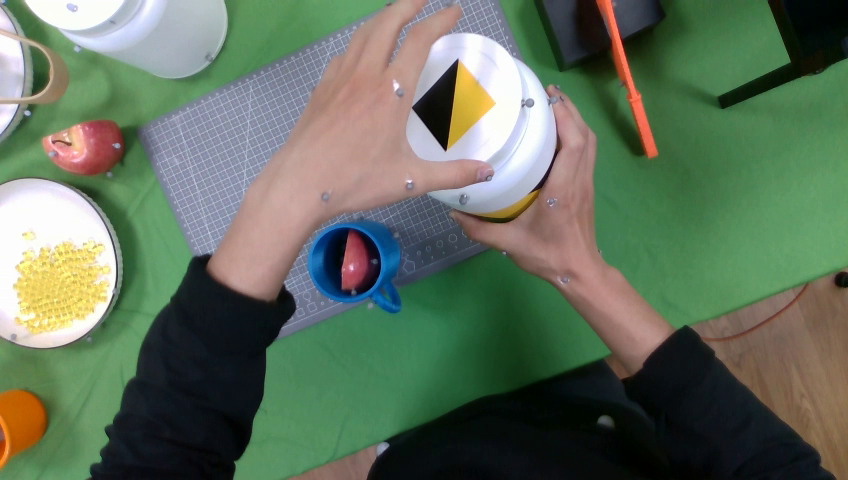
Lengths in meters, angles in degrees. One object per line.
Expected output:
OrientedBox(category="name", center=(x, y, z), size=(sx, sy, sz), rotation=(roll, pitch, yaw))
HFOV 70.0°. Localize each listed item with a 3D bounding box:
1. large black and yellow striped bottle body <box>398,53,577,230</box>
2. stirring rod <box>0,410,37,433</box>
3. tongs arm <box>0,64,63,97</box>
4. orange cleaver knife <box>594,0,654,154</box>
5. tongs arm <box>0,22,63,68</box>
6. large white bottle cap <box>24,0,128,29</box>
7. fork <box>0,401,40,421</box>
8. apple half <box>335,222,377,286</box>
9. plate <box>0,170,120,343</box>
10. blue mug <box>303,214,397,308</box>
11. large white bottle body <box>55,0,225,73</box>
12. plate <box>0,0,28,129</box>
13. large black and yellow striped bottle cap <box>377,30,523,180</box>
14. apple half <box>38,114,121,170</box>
OrientedBox(category="large black and yellow striped bottle body", center=(0.053, -0.087, 0.535), size=(0.130, 0.185, 0.130), rotation=(-5, 78, 25))
OrientedBox(category="stirring rod", center=(-0.556, 0.241, 0.710), size=(0.177, 0.006, 0.014), rotation=(-17, 82, -34))
OrientedBox(category="tongs arm", center=(-0.602, -0.188, 0.696), size=(0.384, 0.026, 0.051), rotation=(6, 92, 6))
OrientedBox(category="orange cleaver knife", center=(0.204, -0.190, 0.637), size=(0.012, 0.076, 0.213), rotation=(-21, 119, 15))
OrientedBox(category="tongs arm", center=(-0.587, -0.270, 0.690), size=(0.387, 0.028, 0.028), rotation=(20, 90, 5))
OrientedBox(category="large white bottle cap", center=(-0.312, -0.249, 0.539), size=(0.115, 0.018, 0.115), rotation=(0, 95, 6))
OrientedBox(category="fork", center=(-0.572, 0.226, 0.708), size=(0.208, 0.018, 0.028), rotation=(-9, 94, -38))
OrientedBox(category="apple half", center=(-0.067, 0.016, 0.660), size=(0.032, 0.081, 0.081), rotation=(11, 96, 12))
OrientedBox(category="plate", center=(-0.465, 0.019, 0.736), size=(0.209, 0.038, 0.209), rotation=(0, 96, 5))
OrientedBox(category="blue mug", center=(-0.068, 0.026, 0.667), size=(0.082, 0.106, 0.116), rotation=(-38, 91, 7))
OrientedBox(category="large white bottle body", center=(-0.303, -0.255, 0.623), size=(0.130, 0.184, 0.130), rotation=(0, 94, 6))
OrientedBox(category="plate", center=(-0.567, -0.213, 0.723), size=(0.207, 0.039, 0.208), rotation=(0, 96, 5))
OrientedBox(category="large black and yellow striped bottle cap", center=(0.018, -0.103, 0.460), size=(0.114, 0.019, 0.114), rotation=(-4, 80, 24))
OrientedBox(category="apple half", center=(-0.391, -0.108, 0.701), size=(0.081, 0.074, 0.053), rotation=(-19, 96, 2))
